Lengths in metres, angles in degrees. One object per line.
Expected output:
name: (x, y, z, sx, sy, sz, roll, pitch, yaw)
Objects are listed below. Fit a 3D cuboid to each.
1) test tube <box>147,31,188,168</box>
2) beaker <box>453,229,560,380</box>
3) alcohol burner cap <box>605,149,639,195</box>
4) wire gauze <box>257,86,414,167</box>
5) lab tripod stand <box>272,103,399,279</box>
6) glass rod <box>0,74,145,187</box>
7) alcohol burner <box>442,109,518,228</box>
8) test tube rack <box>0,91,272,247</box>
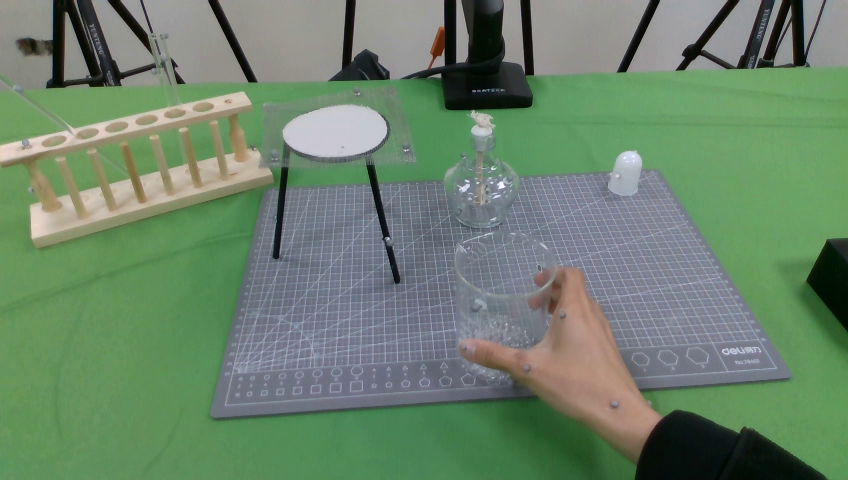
test tube: (-0.264, -0.143, 0.637, 0.017, 0.151, 0.017, 0, 37, 0)
beaker: (0.056, 0.051, 0.466, 0.083, 0.101, 0.074, 29, 48, 31)
alcohol burner cap: (0.217, -0.076, 0.660, 0.034, 0.048, 0.033, 0, 40, 0)
wire gauze: (-0.078, -0.096, 0.510, 0.125, 0.011, 0.120, -7, 41, -7)
lab tripod stand: (-0.077, -0.045, 0.554, 0.148, 0.133, 0.147, -1, 42, 1)
glass rod: (-0.353, -0.111, 0.591, 0.008, 0.202, 0.008, -17, 50, 22)
alcohol burner: (0.056, -0.073, 0.602, 0.078, 0.120, 0.077, -1, 39, 2)
test tube rack: (-0.294, -0.080, 0.639, 0.243, 0.086, 0.066, -19, 43, -21)
